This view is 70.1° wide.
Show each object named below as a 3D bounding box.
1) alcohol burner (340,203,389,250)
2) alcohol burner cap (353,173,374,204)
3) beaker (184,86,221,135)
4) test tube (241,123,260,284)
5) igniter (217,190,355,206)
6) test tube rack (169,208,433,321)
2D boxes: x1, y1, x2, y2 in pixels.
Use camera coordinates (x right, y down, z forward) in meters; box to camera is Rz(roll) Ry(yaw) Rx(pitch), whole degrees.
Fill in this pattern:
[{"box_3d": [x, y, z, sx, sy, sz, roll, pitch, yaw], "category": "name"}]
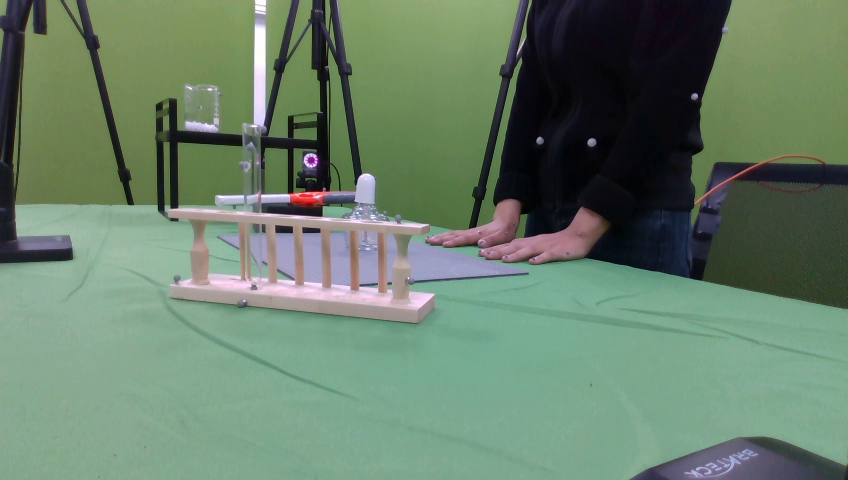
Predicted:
[{"box_3d": [-0.093, -0.045, 0.939, 0.078, 0.119, 0.078, 0, 7, 0], "category": "alcohol burner"}, {"box_3d": [-0.092, -0.081, 0.936, 0.034, 0.048, 0.034, 6, 10, -1], "category": "alcohol burner cap"}, {"box_3d": [-0.475, -0.277, 1.296, 0.074, 0.100, 0.084, 2, 8, -1], "category": "beaker"}, {"box_3d": [-0.160, -0.032, 0.558, 0.017, 0.150, 0.017, 3, 13, 0], "category": "test tube"}, {"box_3d": [-0.248, -0.079, 1.152, 0.278, 0.025, 0.057, -4, 11, -27], "category": "igniter"}, {"box_3d": [-0.115, 0.018, 0.574, 0.242, 0.085, 0.067, 4, 8, 13], "category": "test tube rack"}]
